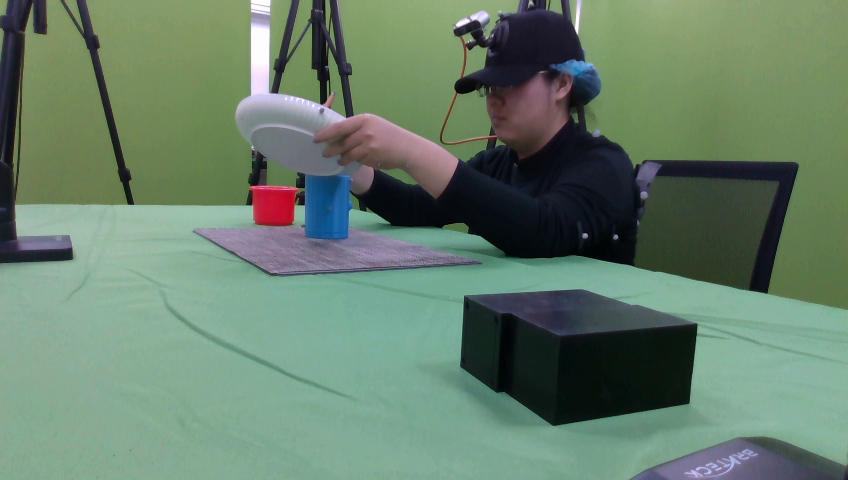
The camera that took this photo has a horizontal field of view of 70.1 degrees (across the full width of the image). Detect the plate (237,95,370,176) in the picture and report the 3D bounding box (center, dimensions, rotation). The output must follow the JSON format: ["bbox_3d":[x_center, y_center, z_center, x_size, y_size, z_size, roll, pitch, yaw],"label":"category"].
[{"bbox_3d":[-0.190,-0.150,0.939,0.207,0.039,0.208,11,-19,4],"label":"plate"}]

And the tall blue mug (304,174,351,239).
[{"bbox_3d":[-0.178,-0.062,1.062,0.078,0.108,0.106,-5,11,-38],"label":"tall blue mug"}]

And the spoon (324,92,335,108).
[{"bbox_3d":[-0.195,-0.206,1.062,0.021,0.041,0.194,26,46,2],"label":"spoon"}]
